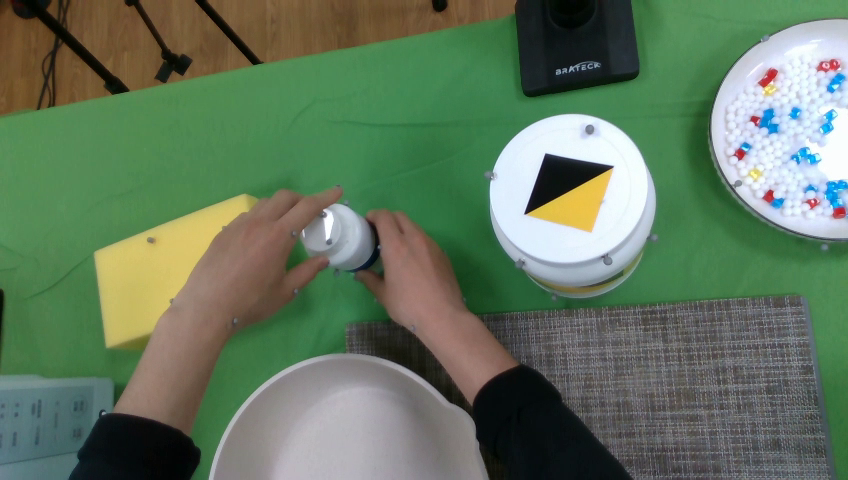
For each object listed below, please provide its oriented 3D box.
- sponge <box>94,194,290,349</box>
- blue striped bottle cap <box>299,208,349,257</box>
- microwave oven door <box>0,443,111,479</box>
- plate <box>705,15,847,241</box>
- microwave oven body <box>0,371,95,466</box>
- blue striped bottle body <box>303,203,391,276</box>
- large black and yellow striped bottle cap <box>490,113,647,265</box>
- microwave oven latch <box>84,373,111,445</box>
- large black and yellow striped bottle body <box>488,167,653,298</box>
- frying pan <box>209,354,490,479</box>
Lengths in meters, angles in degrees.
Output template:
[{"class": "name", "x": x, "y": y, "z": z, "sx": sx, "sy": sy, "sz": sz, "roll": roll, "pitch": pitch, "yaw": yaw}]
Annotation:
[{"class": "sponge", "x": -0.269, "y": 0.041, "z": 0.700, "sx": 0.206, "sy": 0.061, "sz": 0.117, "roll": -20, "pitch": 76, "yaw": 12}, {"class": "blue striped bottle cap", "x": -0.095, "y": -0.008, "z": 0.572, "sx": 0.044, "sy": 0.021, "sz": 0.044, "roll": -4, "pitch": 76, "yaw": 16}, {"class": "microwave oven door", "x": -0.404, "y": 0.390, "z": 0.563, "sx": 0.039, "sy": 0.245, "sz": 0.354, "roll": -6, "pitch": 79, "yaw": 16}, {"class": "plate", "x": 0.368, "y": -0.100, "z": 0.552, "sx": 0.208, "sy": 0.038, "sz": 0.208, "roll": -3, "pitch": 80, "yaw": 16}, {"class": "microwave oven body", "x": -0.544, "y": 0.363, "z": 0.614, "sx": 0.325, "sy": 0.262, "sz": 0.440, "roll": -5, "pitch": 79, "yaw": 15}, {"class": "blue striped bottle body", "x": -0.082, "y": 0.000, "z": 0.621, "sx": 0.063, "sy": 0.121, "sz": 0.063, "roll": -3, "pitch": 80, "yaw": 15}, {"class": "large black and yellow striped bottle cap", "x": 0.106, "y": -0.038, "z": 0.451, "sx": 0.114, "sy": 0.019, "sz": 0.114, "roll": -2, "pitch": 81, "yaw": 16}, {"class": "microwave oven latch", "x": -0.381, "y": 0.193, "z": 0.698, "sx": 0.030, "sy": 0.030, "sz": 0.079, "roll": -6, "pitch": 80, "yaw": 15}, {"class": "large black and yellow striped bottle body", "x": 0.129, "y": -0.022, "z": 0.531, "sx": 0.130, "sy": 0.185, "sz": 0.130, "roll": -3, "pitch": 79, "yaw": 16}, {"class": "frying pan", "x": -0.020, "y": 0.338, "z": 0.550, "sx": 0.307, "sy": 0.103, "sz": 0.483, "roll": -36, "pitch": 65, "yaw": 9}]
